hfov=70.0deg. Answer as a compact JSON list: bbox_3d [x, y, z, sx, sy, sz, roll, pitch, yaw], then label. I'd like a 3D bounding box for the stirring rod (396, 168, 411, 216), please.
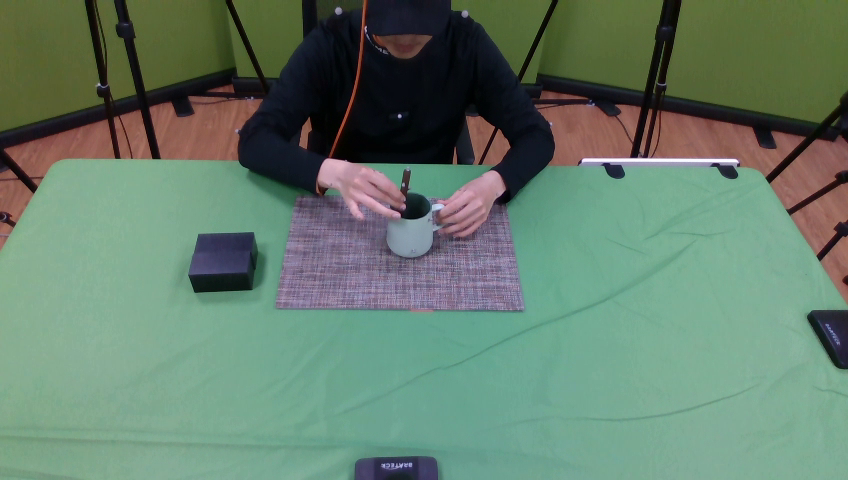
[{"bbox_3d":[-0.042,-0.068,1.125,0.014,0.177,0.006,5,48,-7],"label":"stirring rod"}]

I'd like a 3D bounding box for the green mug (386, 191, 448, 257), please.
[{"bbox_3d":[-0.012,-0.034,1.165,0.125,0.105,0.092,-17,49,-19],"label":"green mug"}]
